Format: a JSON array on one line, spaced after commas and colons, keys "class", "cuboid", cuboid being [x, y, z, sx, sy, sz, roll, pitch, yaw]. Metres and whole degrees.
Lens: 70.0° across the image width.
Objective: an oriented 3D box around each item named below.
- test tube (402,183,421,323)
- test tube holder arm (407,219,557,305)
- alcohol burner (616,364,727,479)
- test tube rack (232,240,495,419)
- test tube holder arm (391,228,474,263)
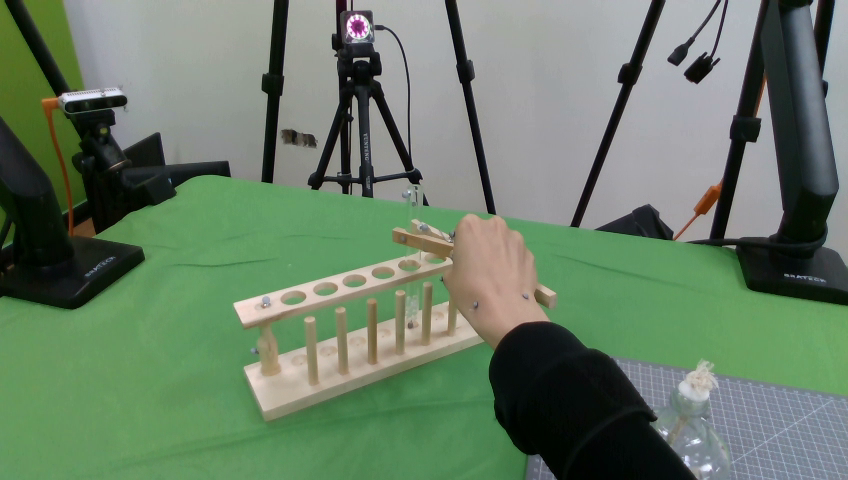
[{"class": "test tube", "cuboid": [-0.012, 0.017, 0.585, 0.017, 0.151, 0.017, 2, 28, -1]}, {"class": "test tube holder arm", "cuboid": [0.044, 0.015, 0.532, 0.013, 0.015, 0.176, -28, 38, -34]}, {"class": "alcohol burner", "cuboid": [0.183, 0.139, 0.441, 0.078, 0.120, 0.077, 2, 28, -1]}, {"class": "test tube rack", "cuboid": [-0.048, 0.077, 0.577, 0.243, 0.086, 0.066, -15, 33, -26]}, {"class": "test tube holder arm", "cuboid": [0.008, 0.005, 0.555, 0.087, 0.015, 0.010, 13, 34, 27]}]
